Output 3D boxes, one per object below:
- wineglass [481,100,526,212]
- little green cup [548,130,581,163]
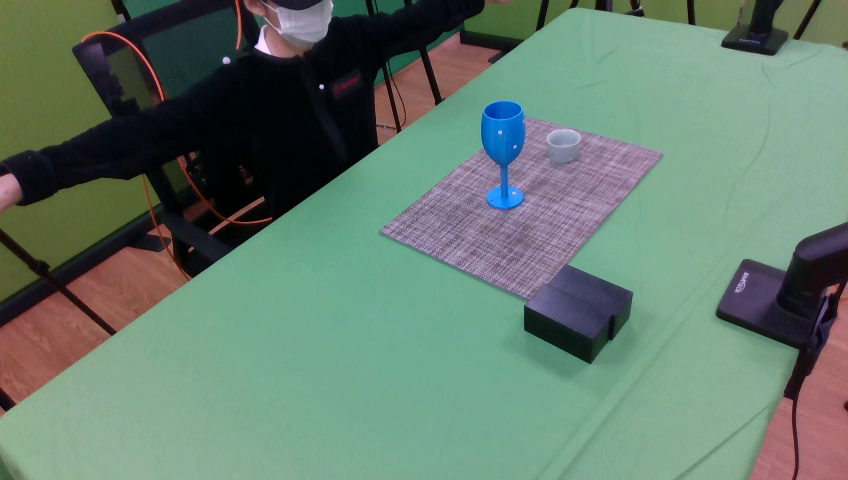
[{"bbox_3d":[0.132,-0.137,0.993,0.074,0.173,0.073,-5,40,4],"label":"wineglass"},{"bbox_3d":[0.259,-0.173,1.120,0.061,0.039,0.061,-4,40,4],"label":"little green cup"}]
